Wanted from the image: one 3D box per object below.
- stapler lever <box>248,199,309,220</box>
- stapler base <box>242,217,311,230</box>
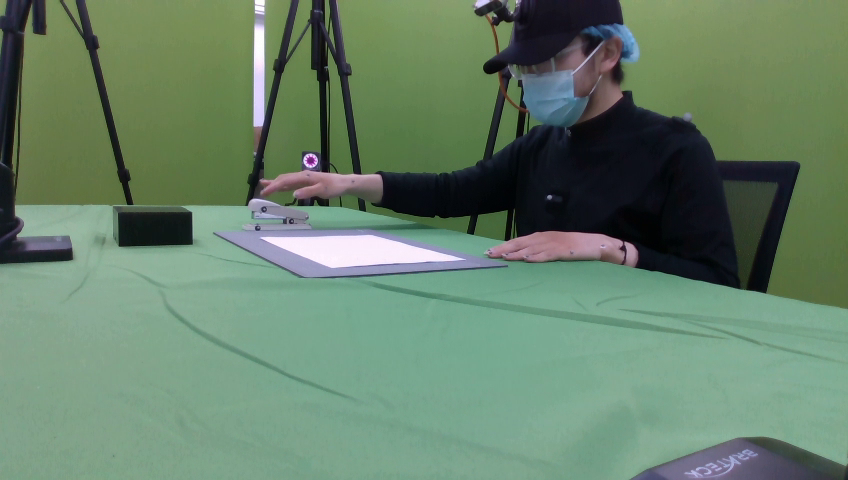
[{"bbox_3d":[-0.281,-0.058,1.168,0.119,0.040,0.026,-1,11,-37],"label":"stapler lever"},{"bbox_3d":[-0.284,-0.033,1.170,0.131,0.024,0.041,-1,11,-37],"label":"stapler base"}]
